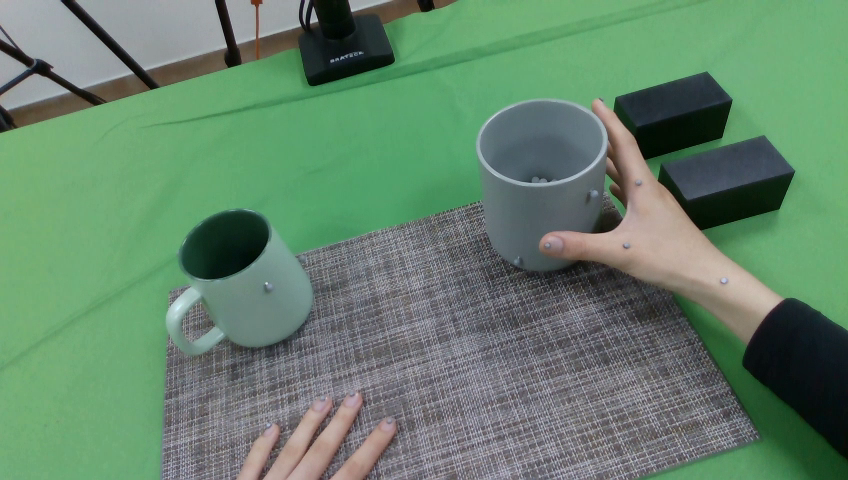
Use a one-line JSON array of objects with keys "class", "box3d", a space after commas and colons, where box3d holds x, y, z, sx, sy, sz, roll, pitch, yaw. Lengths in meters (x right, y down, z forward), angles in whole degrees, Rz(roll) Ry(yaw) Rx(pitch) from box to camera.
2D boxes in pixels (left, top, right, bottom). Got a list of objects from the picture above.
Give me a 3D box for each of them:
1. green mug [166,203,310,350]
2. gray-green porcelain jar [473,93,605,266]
[{"class": "green mug", "box3d": [-0.167, 0.042, 0.531, 0.092, 0.106, 0.125, 27, 62, 28]}, {"class": "gray-green porcelain jar", "box3d": [0.101, -0.047, 0.533, 0.106, 0.128, 0.105, -6, 51, 7]}]
